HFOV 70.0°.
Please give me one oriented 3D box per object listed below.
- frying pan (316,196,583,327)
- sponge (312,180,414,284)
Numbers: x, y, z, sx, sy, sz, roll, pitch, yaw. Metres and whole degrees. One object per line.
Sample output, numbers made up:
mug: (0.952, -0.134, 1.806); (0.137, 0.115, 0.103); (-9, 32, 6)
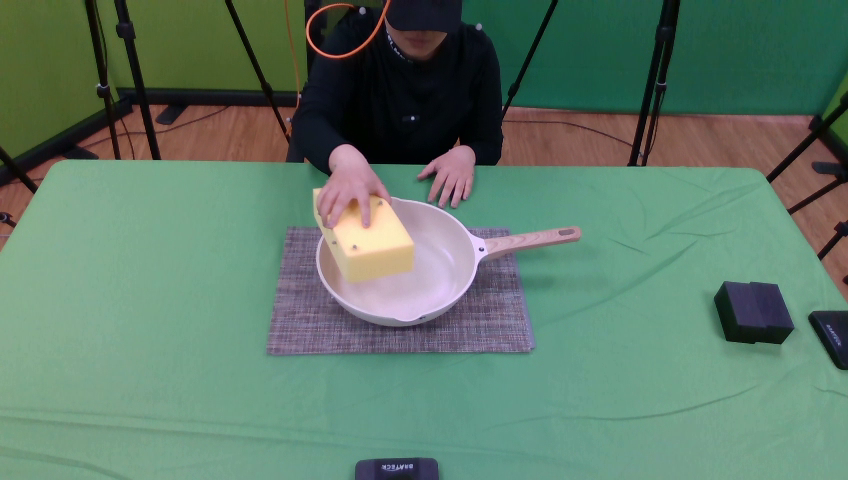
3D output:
frying pan: (0.054, 0.027, 1.114); (0.488, 0.103, 0.304); (-9, 48, -1)
sponge: (-0.111, -0.020, 1.060); (0.118, 0.061, 0.205); (-12, 41, -21)
